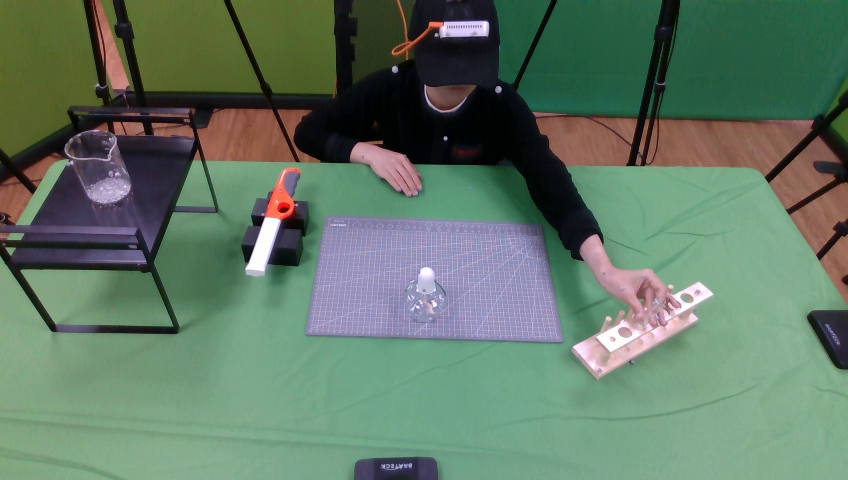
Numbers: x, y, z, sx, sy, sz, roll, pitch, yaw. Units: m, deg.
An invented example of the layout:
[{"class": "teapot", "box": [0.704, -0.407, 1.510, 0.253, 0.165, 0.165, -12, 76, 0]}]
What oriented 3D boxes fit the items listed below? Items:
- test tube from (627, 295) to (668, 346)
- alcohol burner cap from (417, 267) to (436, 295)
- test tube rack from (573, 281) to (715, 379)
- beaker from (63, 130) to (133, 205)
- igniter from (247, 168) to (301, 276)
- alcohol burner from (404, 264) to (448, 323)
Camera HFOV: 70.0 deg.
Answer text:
[{"class": "test tube", "box": [0.353, 0.132, 0.971, 0.017, 0.151, 0.017, 3, 54, -4]}, {"class": "alcohol burner cap", "box": [0.005, 0.066, 1.019, 0.034, 0.048, 0.033, -1, 47, 1]}, {"class": "test tube rack", "box": [0.378, 0.140, 1.038, 0.242, 0.085, 0.066, -22, 51, -23]}, {"class": "beaker", "box": [-0.511, -0.112, 0.964, 0.083, 0.101, 0.074, 31, 52, 23]}, {"class": "igniter", "box": [-0.282, -0.043, 1.149, 0.057, 0.025, 0.275, 8, 48, -1]}, {"class": "alcohol burner", "box": [0.003, 0.087, 1.042, 0.078, 0.120, 0.077, 1, 45, 0]}]
